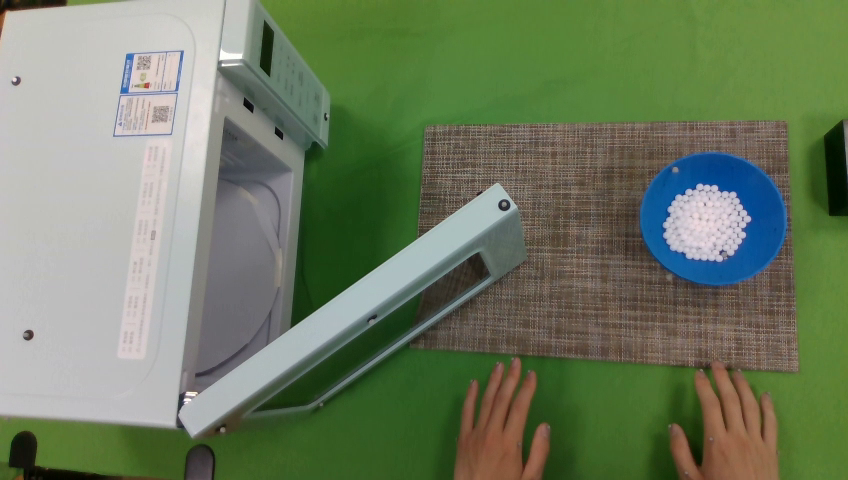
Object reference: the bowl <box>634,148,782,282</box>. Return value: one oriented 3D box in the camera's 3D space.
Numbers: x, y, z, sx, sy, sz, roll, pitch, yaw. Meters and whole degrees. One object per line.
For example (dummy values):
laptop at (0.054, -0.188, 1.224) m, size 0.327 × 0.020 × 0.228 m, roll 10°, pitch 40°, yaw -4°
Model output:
bowl at (0.315, -0.021, 0.695) m, size 0.151 × 0.077 × 0.150 m, roll -2°, pitch 78°, yaw 11°

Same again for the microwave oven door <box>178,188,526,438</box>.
microwave oven door at (-0.050, 0.087, 0.644) m, size 0.356 × 0.245 × 0.039 m, roll -36°, pitch 73°, yaw 2°

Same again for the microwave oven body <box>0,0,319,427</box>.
microwave oven body at (-0.322, -0.020, 0.722) m, size 0.325 × 0.261 × 0.440 m, roll 0°, pitch 79°, yaw 10°

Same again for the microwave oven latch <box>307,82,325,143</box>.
microwave oven latch at (-0.151, -0.173, 0.821) m, size 0.030 × 0.029 × 0.079 m, roll 0°, pitch 79°, yaw 10°
